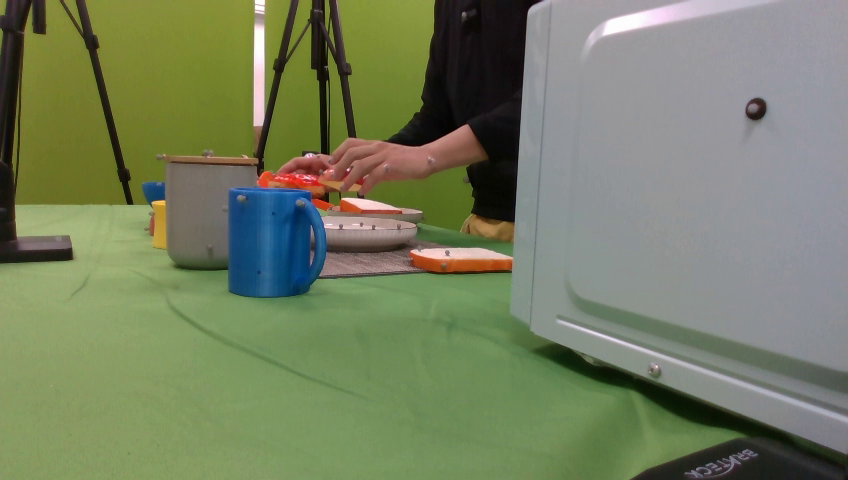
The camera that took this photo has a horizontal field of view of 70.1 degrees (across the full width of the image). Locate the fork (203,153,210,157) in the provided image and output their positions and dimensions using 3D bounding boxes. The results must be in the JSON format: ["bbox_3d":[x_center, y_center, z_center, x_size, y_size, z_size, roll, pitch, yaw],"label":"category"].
[{"bbox_3d":[-0.480,-0.135,1.411,0.028,0.018,0.207,0,-34,-1],"label":"fork"}]

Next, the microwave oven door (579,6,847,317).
[{"bbox_3d":[0.294,-0.067,0.570,0.358,0.243,0.039,-3,9,-31],"label":"microwave oven door"}]

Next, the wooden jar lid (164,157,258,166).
[{"bbox_3d":[-0.261,-0.093,0.746,0.108,0.020,0.108,0,9,0],"label":"wooden jar lid"}]

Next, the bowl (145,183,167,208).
[{"bbox_3d":[-0.459,-0.069,1.175,0.151,0.077,0.151,3,7,0],"label":"bowl"}]

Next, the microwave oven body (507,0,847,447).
[{"bbox_3d":[0.331,-0.042,0.425,0.444,0.260,0.324,-2,8,-31],"label":"microwave oven body"}]

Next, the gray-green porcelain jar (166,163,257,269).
[{"bbox_3d":[-0.263,-0.031,0.754,0.106,0.126,0.106,2,7,0],"label":"gray-green porcelain jar"}]

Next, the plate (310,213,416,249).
[{"bbox_3d":[-0.116,-0.014,0.967,0.208,0.039,0.207,2,8,0],"label":"plate"}]

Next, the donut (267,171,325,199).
[{"bbox_3d":[-0.221,-0.096,1.047,0.099,0.048,0.099,1,3,0],"label":"donut"}]

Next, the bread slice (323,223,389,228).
[{"bbox_3d":[-0.120,-0.013,0.970,0.106,0.018,0.135,9,10,41],"label":"bread slice"}]

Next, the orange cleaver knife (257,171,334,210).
[{"bbox_3d":[-0.283,-0.087,1.343,0.212,0.077,0.012,24,-16,-41],"label":"orange cleaver knife"}]

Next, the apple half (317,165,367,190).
[{"bbox_3d":[-0.125,-0.100,0.950,0.081,0.033,0.081,7,-4,1],"label":"apple half"}]

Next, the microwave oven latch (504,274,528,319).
[{"bbox_3d":[0.100,0.041,0.471,0.079,0.029,0.030,-1,7,-27],"label":"microwave oven latch"}]

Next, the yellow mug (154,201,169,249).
[{"bbox_3d":[-0.337,-0.023,0.899,0.130,0.064,0.100,8,10,34],"label":"yellow mug"}]

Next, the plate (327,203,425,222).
[{"bbox_3d":[-0.102,-0.053,1.299,0.209,0.038,0.209,2,8,0],"label":"plate"}]

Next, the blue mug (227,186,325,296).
[{"bbox_3d":[-0.146,0.000,0.618,0.116,0.106,0.083,7,9,32],"label":"blue mug"}]

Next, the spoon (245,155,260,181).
[{"bbox_3d":[-0.421,-0.150,1.540,0.042,0.021,0.193,-5,55,-37],"label":"spoon"}]

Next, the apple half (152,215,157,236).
[{"bbox_3d":[-0.415,-0.034,1.017,0.081,0.053,0.074,1,10,-8],"label":"apple half"}]

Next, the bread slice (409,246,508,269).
[{"bbox_3d":[0.048,0.022,0.816,0.132,0.019,0.104,0,7,-24],"label":"bread slice"}]
